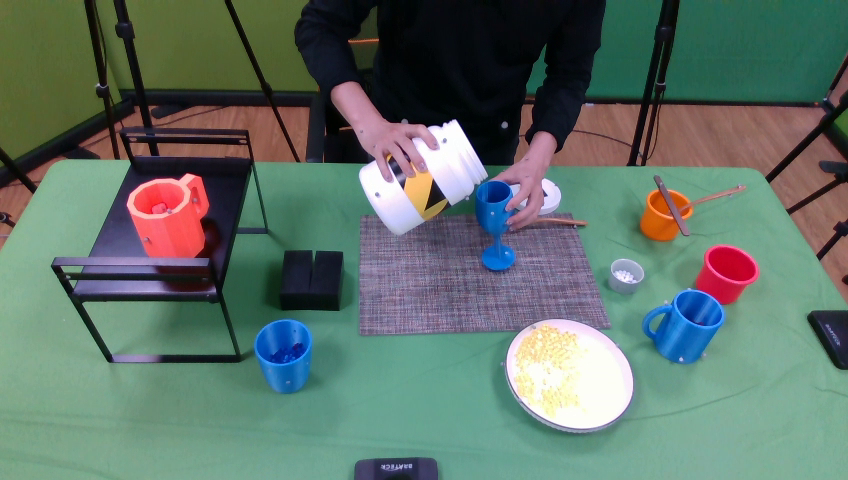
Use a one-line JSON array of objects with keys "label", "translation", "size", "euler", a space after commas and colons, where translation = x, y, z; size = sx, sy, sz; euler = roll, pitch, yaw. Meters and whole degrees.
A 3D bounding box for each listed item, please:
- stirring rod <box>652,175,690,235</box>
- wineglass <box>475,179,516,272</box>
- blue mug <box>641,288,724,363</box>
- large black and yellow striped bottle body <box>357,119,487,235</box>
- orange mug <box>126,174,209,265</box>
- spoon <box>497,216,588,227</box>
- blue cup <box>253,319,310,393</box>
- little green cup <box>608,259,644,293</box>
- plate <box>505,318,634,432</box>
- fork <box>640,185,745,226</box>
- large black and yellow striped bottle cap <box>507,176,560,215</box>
[{"label": "stirring rod", "translation": [0.492, -0.072, 1.211], "size": [0.014, 0.006, 0.175], "euler": [-1, 46, -6]}, {"label": "wineglass", "translation": [0.133, -0.026, 1.107], "size": [0.074, 0.173, 0.073], "euler": [-5, 46, 5]}, {"label": "blue mug", "translation": [0.432, 0.144, 1.033], "size": [0.116, 0.106, 0.082], "euler": [8, 46, 5]}, {"label": "large black and yellow striped bottle body", "translation": [-0.001, -0.106, 0.995], "size": [0.184, 0.131, 0.130], "euler": [-30, 49, 7]}, {"label": "orange mug", "translation": [-0.371, -0.039, 0.902], "size": [0.083, 0.101, 0.126], "euler": [18, 51, 14]}, {"label": "spoon", "translation": [0.245, -0.039, 1.247], "size": [0.194, 0.022, 0.041], "euler": [-1, 26, -6]}, {"label": "blue cup", "translation": [-0.217, 0.187, 0.943], "size": [0.093, 0.101, 0.092], "euler": [3, 45, -3]}, {"label": "little green cup", "translation": [0.379, 0.070, 1.147], "size": [0.061, 0.039, 0.061], "euler": [3, 45, -3]}, {"label": "plate", "translation": [0.235, 0.221, 0.991], "size": [0.209, 0.038, 0.208], "euler": [2, 45, -2]}, {"label": "fork", "translation": [0.534, -0.069, 1.215], "size": [0.207, 0.019, 0.028], "euler": [-26, 27, 33]}, {"label": "large black and yellow striped bottle cap", "translation": [0.237, -0.098, 1.312], "size": [0.115, 0.019, 0.114], "euler": [2, 43, -2]}]
